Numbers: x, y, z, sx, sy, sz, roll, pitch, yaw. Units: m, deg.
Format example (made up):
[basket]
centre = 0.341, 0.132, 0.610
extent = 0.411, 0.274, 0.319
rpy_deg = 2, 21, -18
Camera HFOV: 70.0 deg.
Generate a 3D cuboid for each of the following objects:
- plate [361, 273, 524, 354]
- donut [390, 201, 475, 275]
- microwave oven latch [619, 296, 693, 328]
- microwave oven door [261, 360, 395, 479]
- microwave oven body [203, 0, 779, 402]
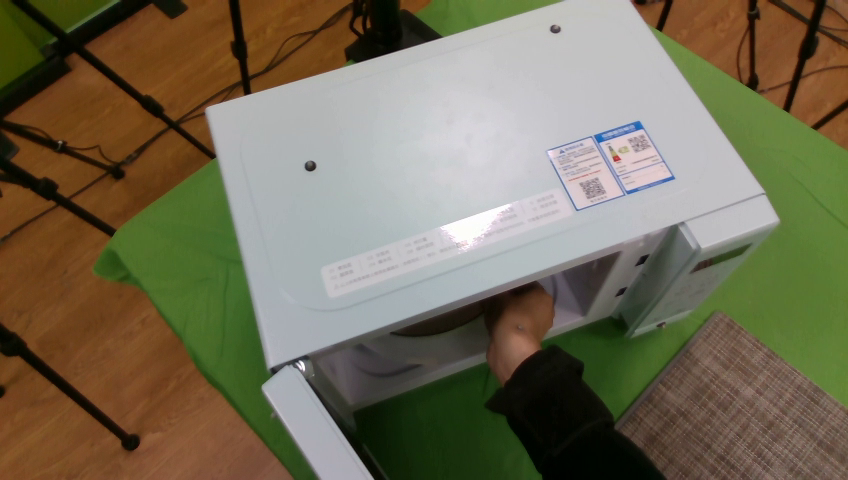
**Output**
[plate]
centre = 0.006, 0.033, 0.670
extent = 0.209, 0.038, 0.207
rpy_deg = -3, 58, 5
[donut]
centre = 0.010, -0.003, 0.691
extent = 0.099, 0.048, 0.098
rpy_deg = 6, 50, -7
[microwave oven latch]
centre = 0.269, 0.074, 0.699
extent = 0.079, 0.030, 0.030
rpy_deg = -19, 65, -6
[microwave oven door]
centre = 0.000, 0.269, 0.503
extent = 0.039, 0.246, 0.353
rpy_deg = -36, 68, -14
[microwave oven body]
centre = 0.047, -0.035, 0.654
extent = 0.442, 0.262, 0.323
rpy_deg = -19, 65, -6
